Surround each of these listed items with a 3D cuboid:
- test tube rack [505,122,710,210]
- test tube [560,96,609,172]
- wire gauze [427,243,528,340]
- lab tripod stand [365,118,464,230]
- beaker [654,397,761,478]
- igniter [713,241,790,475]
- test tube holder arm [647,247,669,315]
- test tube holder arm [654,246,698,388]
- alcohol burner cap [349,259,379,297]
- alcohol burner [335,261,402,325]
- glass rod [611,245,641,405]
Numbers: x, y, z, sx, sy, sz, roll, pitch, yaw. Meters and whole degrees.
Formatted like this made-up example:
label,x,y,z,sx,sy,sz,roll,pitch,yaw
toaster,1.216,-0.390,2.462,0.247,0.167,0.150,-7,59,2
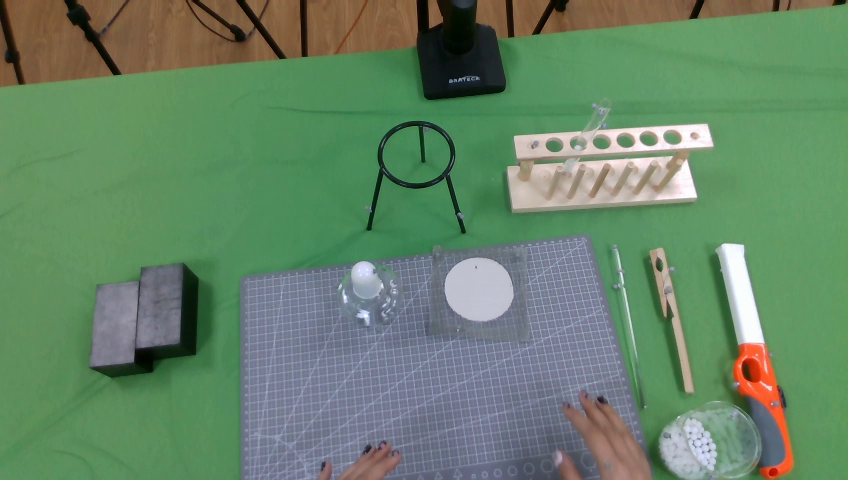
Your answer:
label,x,y,z,sx,sy,sz,roll,pitch,yaw
test tube rack,0.233,-0.094,0.780,0.242,0.086,0.066,-4,66,-1
test tube,0.193,-0.125,0.740,0.017,0.151,0.017,2,67,-4
wire gauze,0.067,0.061,0.753,0.125,0.011,0.120,4,67,1
lab tripod stand,-0.012,-0.073,0.746,0.148,0.132,0.147,0,68,1
beaker,0.290,0.210,0.639,0.083,0.101,0.073,22,67,12
igniter,0.383,0.130,0.713,0.057,0.025,0.274,4,66,-9
test tube holder arm,0.294,0.051,0.755,0.010,0.015,0.087,-21,62,32
test tube holder arm,0.303,0.090,0.733,0.013,0.015,0.177,-23,61,31
alcohol burner cap,-0.067,0.039,0.665,0.034,0.048,0.033,0,60,1
alcohol burner,-0.066,0.055,0.698,0.078,0.120,0.077,-1,66,2
glass rod,0.245,0.099,0.737,0.008,0.008,0.198,-2,68,-1
